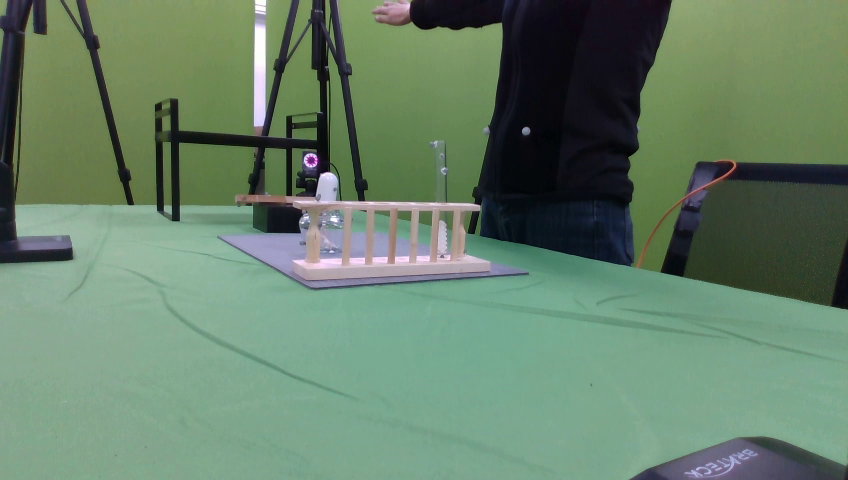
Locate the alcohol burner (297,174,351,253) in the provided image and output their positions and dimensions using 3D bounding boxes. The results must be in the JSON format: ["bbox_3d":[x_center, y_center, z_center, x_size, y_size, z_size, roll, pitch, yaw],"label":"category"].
[{"bbox_3d":[-0.146,-0.040,0.894,0.078,0.119,0.078,5,7,0],"label":"alcohol burner"}]

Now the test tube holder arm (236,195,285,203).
[{"bbox_3d":[-0.304,-0.076,1.125,0.088,0.015,0.010,-1,2,-29],"label":"test tube holder arm"}]

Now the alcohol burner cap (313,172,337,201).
[{"bbox_3d":[-0.144,-0.076,0.888,0.034,0.048,0.034,8,6,-1],"label":"alcohol burner cap"}]

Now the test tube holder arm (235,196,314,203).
[{"bbox_3d":[-0.267,-0.076,1.152,0.179,0.015,0.013,-1,2,-30],"label":"test tube holder arm"}]

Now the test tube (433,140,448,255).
[{"bbox_3d":[0.022,-0.054,0.785,0.017,0.150,0.017,-1,9,1],"label":"test tube"}]

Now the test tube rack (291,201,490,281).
[{"bbox_3d":[-0.035,-0.002,0.745,0.243,0.085,0.066,-1,8,-28],"label":"test tube rack"}]
